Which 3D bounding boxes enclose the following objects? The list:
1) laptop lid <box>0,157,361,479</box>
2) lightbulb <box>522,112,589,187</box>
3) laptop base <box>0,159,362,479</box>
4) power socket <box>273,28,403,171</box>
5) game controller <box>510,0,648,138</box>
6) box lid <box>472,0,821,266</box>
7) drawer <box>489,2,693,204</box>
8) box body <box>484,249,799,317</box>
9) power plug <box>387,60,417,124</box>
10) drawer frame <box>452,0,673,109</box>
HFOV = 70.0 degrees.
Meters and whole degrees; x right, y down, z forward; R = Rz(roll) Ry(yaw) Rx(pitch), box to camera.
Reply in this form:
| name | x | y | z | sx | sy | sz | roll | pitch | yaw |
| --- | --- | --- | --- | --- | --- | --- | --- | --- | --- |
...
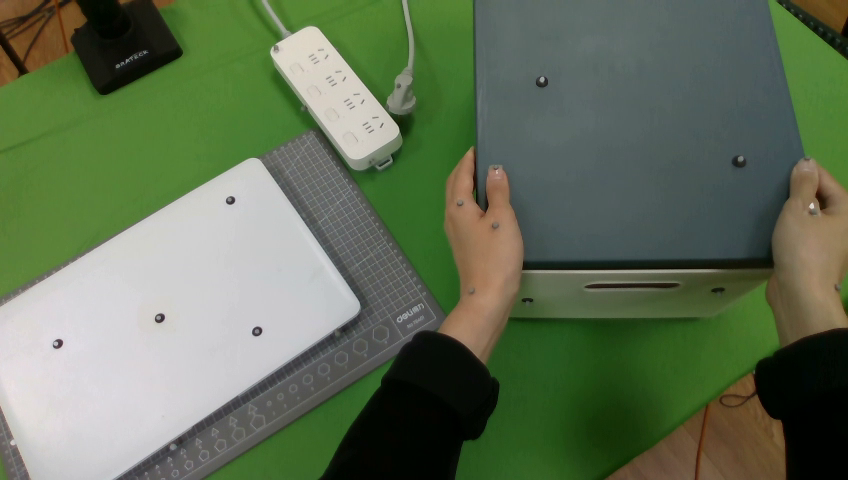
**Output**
| name | x | y | z | sx | sy | sz | roll | pitch | yaw |
| --- | --- | --- | --- | --- | --- | --- | --- | --- | --- |
| laptop lid | -0.271 | 0.082 | 0.634 | 0.357 | 0.013 | 0.240 | -33 | 70 | -10 |
| lightbulb | 0.138 | -0.104 | 0.663 | 0.059 | 0.060 | 0.106 | -22 | 53 | -5 |
| laptop base | -0.271 | 0.085 | 0.646 | 0.354 | 0.023 | 0.234 | -34 | 72 | -11 |
| power socket | -0.108 | -0.176 | 0.742 | 0.072 | 0.033 | 0.225 | -33 | 68 | -11 |
| game controller | 0.165 | -0.191 | 0.643 | 0.097 | 0.052 | 0.154 | -24 | 66 | -5 |
| box lid | 0.175 | -0.153 | 0.531 | 0.263 | 0.015 | 0.368 | -1 | 68 | 4 |
| drawer | 0.173 | -0.148 | 0.665 | 0.194 | 0.074 | 0.210 | -3 | 72 | 7 |
| box body | 0.182 | -0.107 | 0.620 | 0.254 | 0.161 | 0.361 | -1 | 66 | 4 |
| power plug | -0.016 | -0.177 | 0.732 | 0.035 | 0.053 | 0.072 | 26 | 53 | 20 |
| drawer frame | 0.156 | -0.148 | 0.618 | 0.203 | 0.212 | 0.082 | 32 | 83 | -18 |
